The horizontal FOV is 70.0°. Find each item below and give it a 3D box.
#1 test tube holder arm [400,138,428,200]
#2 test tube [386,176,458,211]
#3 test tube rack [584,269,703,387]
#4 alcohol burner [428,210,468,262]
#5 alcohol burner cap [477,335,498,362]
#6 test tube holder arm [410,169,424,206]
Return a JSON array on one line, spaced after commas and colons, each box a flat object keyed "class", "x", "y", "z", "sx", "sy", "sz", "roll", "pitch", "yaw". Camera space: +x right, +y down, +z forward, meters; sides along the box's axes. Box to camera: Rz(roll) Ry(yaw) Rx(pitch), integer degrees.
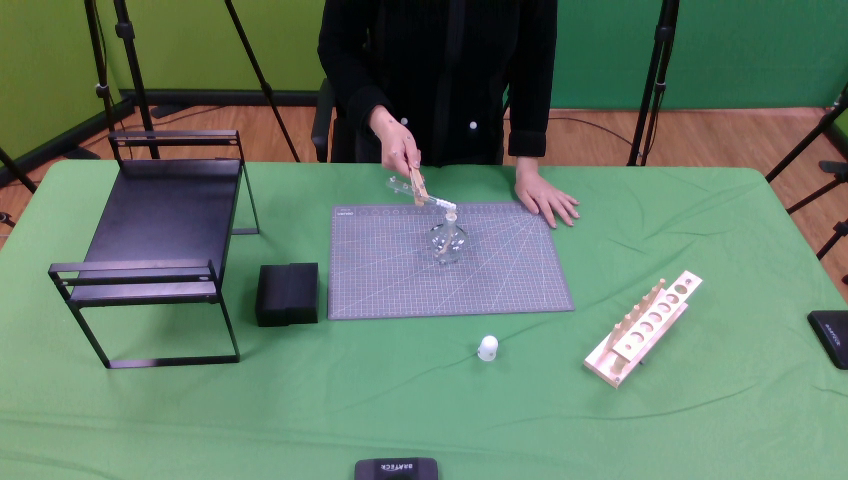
[{"class": "test tube holder arm", "x": -0.019, "y": -0.132, "z": 1.101, "sx": 0.015, "sy": 0.013, "sz": 0.177, "roll": 18, "pitch": 36, "yaw": -31}, {"class": "test tube", "x": -0.001, "y": -0.080, "z": 1.060, "sx": 0.151, "sy": 0.017, "sz": 0.017, "roll": 19, "pitch": 38, "yaw": -31}, {"class": "test tube rack", "x": 0.380, "y": 0.139, "z": 1.045, "sx": 0.066, "sy": 0.085, "sz": 0.242, "roll": 37, "pitch": 54, "yaw": 28}, {"class": "alcohol burner", "x": 0.048, "y": -0.014, "z": 1.146, "sx": 0.078, "sy": 0.119, "sz": 0.077, "roll": 3, "pitch": 48, "yaw": -3}, {"class": "alcohol burner cap", "x": 0.108, "y": 0.180, "z": 1.016, "sx": 0.034, "sy": 0.048, "sz": 0.033, "roll": 3, "pitch": 51, "yaw": -4}, {"class": "test tube holder arm", "x": -0.013, "y": -0.096, "z": 1.074, "sx": 0.015, "sy": 0.010, "sz": 0.087, "roll": 17, "pitch": 46, "yaw": -31}]
